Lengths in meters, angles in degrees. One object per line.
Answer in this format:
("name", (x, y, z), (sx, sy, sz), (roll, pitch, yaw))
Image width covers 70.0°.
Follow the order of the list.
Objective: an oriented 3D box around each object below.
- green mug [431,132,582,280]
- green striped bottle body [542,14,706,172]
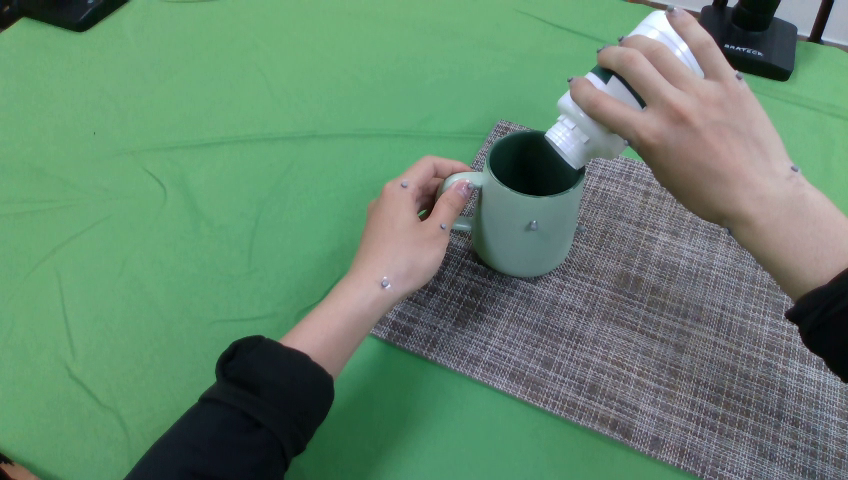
("green mug", (0.069, -0.027, 0.519), (0.125, 0.106, 0.091), (-1, 51, -1))
("green striped bottle body", (0.146, -0.106, 0.461), (0.119, 0.064, 0.062), (-43, 57, 9))
